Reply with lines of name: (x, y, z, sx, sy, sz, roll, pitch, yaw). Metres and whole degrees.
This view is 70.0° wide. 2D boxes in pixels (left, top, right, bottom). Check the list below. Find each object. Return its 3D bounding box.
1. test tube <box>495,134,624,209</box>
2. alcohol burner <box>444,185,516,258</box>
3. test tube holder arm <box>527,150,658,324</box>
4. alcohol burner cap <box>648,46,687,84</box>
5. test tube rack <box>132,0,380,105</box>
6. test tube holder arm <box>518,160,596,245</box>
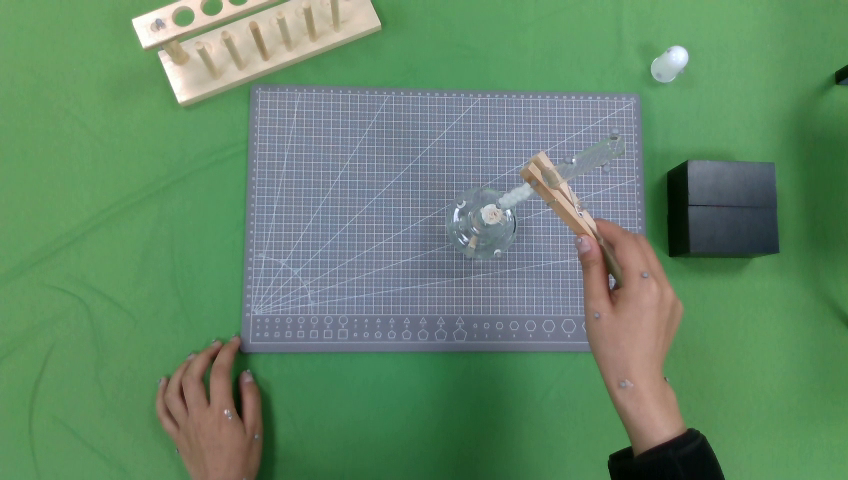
test tube: (0.100, -0.050, 0.480, 0.017, 0.150, 0.017, 6, 75, -25)
alcohol burner: (0.061, -0.022, 0.627, 0.078, 0.119, 0.077, 1, 83, -5)
test tube holder arm: (0.142, 0.001, 0.503, 0.013, 0.015, 0.179, -45, 103, -25)
alcohol burner cap: (0.285, -0.205, 0.704, 0.034, 0.048, 0.033, 0, 82, -2)
test tube rack: (-0.171, -0.234, 0.655, 0.242, 0.085, 0.066, -24, 84, -6)
test tube holder arm: (0.110, -0.029, 0.490, 0.088, 0.015, 0.010, 45, 65, -15)
